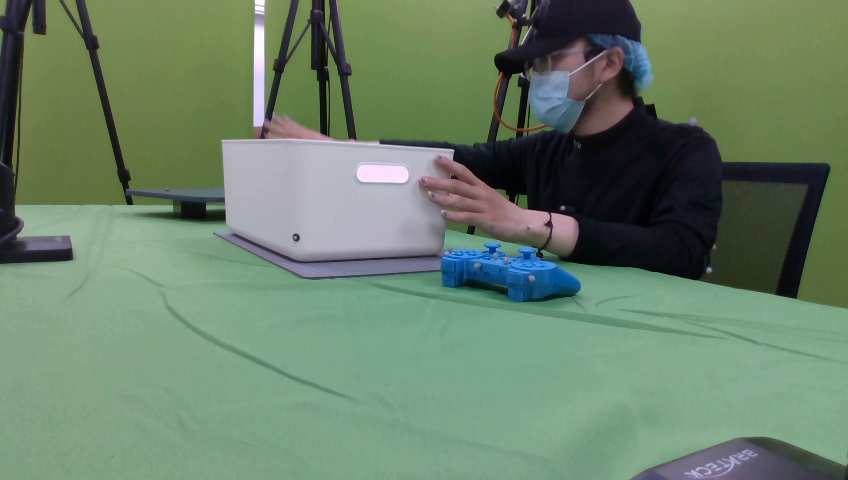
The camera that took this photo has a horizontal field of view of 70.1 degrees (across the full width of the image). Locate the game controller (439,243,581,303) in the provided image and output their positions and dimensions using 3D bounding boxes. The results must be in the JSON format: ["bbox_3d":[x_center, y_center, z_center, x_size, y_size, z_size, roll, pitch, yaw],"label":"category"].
[{"bbox_3d":[0.090,0.033,0.686,0.154,0.051,0.097,8,13,42],"label":"game controller"}]

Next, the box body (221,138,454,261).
[{"bbox_3d":[-0.152,-0.074,0.963,0.255,0.160,0.362,-2,9,-33],"label":"box body"}]

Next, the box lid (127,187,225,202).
[{"bbox_3d":[-0.449,-0.106,1.393,0.262,0.015,0.373,6,8,28],"label":"box lid"}]
